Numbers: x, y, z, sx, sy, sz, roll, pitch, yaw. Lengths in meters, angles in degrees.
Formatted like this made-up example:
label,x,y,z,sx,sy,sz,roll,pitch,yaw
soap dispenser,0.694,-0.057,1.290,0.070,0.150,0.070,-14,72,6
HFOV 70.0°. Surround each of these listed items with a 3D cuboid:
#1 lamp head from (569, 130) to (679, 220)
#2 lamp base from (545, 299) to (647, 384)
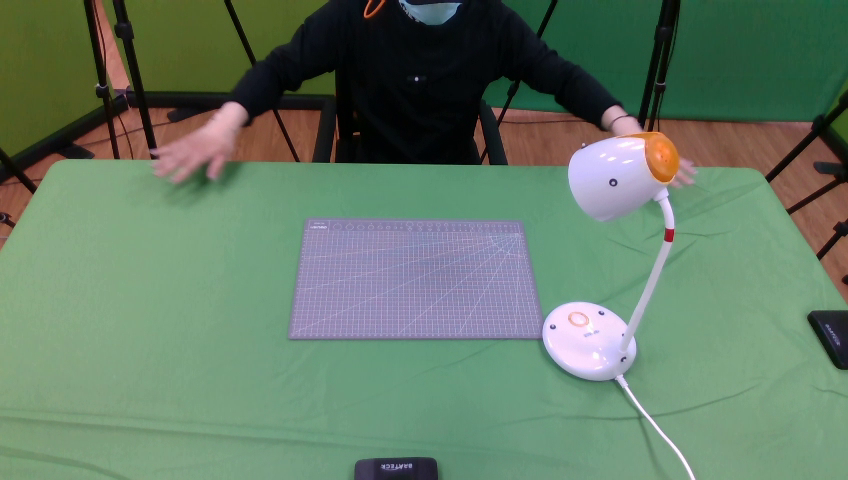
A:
label,x,y,z,sx,sy,sz,roll,pitch,yaw
lamp head,0.272,-0.090,0.798,0.113,0.122,0.112,7,78,-33
lamp base,0.299,0.124,0.984,0.161,0.181,0.178,-23,55,-23
